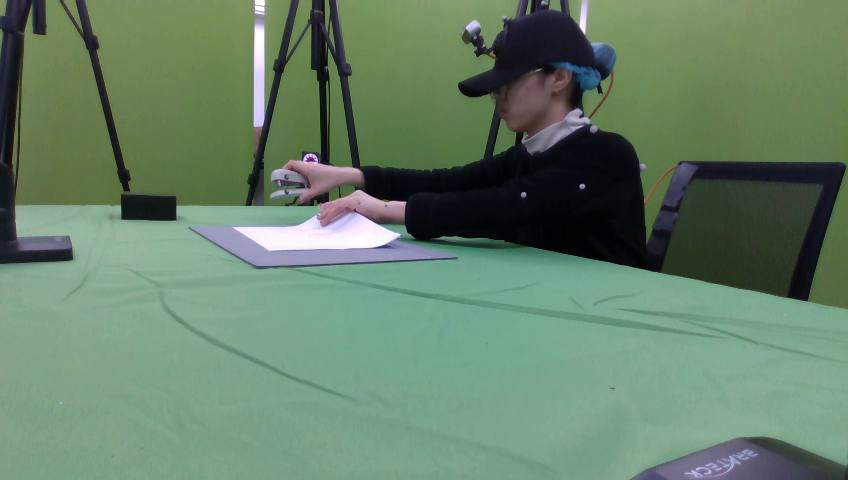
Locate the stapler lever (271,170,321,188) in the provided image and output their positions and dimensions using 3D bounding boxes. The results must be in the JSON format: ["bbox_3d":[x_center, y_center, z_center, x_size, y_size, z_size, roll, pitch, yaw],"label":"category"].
[{"bbox_3d":[-0.276,-0.132,1.303,0.026,0.040,0.119,-10,0,39],"label":"stapler lever"}]

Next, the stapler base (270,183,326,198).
[{"bbox_3d":[-0.272,-0.108,1.301,0.041,0.024,0.131,-10,-1,39],"label":"stapler base"}]
